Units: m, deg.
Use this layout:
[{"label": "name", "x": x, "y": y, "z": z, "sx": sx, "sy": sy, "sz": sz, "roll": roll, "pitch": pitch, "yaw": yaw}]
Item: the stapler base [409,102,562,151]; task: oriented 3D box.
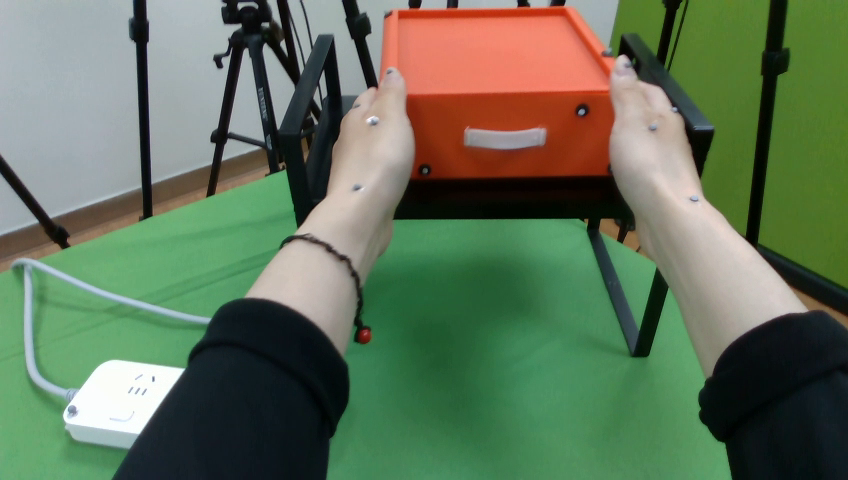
[{"label": "stapler base", "x": 0.053, "y": -0.101, "z": 0.521, "sx": 0.130, "sy": 0.024, "sz": 0.041, "roll": 8, "pitch": 35, "yaw": 12}]

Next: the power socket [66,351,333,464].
[{"label": "power socket", "x": -0.190, "y": 0.140, "z": 0.514, "sx": 0.226, "sy": 0.033, "sz": 0.071, "roll": 5, "pitch": 38, "yaw": 8}]

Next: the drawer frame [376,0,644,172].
[{"label": "drawer frame", "x": 0.061, "y": -0.147, "z": 0.546, "sx": 0.202, "sy": 0.083, "sz": 0.211, "roll": -2, "pitch": 37, "yaw": -2}]

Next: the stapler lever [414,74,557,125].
[{"label": "stapler lever", "x": 0.052, "y": -0.120, "z": 0.506, "sx": 0.118, "sy": 0.040, "sz": 0.026, "roll": 9, "pitch": 36, "yaw": 12}]

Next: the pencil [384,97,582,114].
[{"label": "pencil", "x": 0.047, "y": -0.121, "z": 0.545, "sx": 0.193, "sy": 0.012, "sz": 0.012, "roll": 9, "pitch": 38, "yaw": 28}]

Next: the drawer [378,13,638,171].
[{"label": "drawer", "x": 0.062, "y": -0.144, "z": 0.544, "sx": 0.194, "sy": 0.074, "sz": 0.209, "roll": -2, "pitch": 37, "yaw": 0}]

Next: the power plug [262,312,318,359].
[{"label": "power plug", "x": -0.132, "y": 0.096, "z": 0.583, "sx": 0.072, "sy": 0.035, "sz": 0.052, "roll": -22, "pitch": 22, "yaw": 30}]
